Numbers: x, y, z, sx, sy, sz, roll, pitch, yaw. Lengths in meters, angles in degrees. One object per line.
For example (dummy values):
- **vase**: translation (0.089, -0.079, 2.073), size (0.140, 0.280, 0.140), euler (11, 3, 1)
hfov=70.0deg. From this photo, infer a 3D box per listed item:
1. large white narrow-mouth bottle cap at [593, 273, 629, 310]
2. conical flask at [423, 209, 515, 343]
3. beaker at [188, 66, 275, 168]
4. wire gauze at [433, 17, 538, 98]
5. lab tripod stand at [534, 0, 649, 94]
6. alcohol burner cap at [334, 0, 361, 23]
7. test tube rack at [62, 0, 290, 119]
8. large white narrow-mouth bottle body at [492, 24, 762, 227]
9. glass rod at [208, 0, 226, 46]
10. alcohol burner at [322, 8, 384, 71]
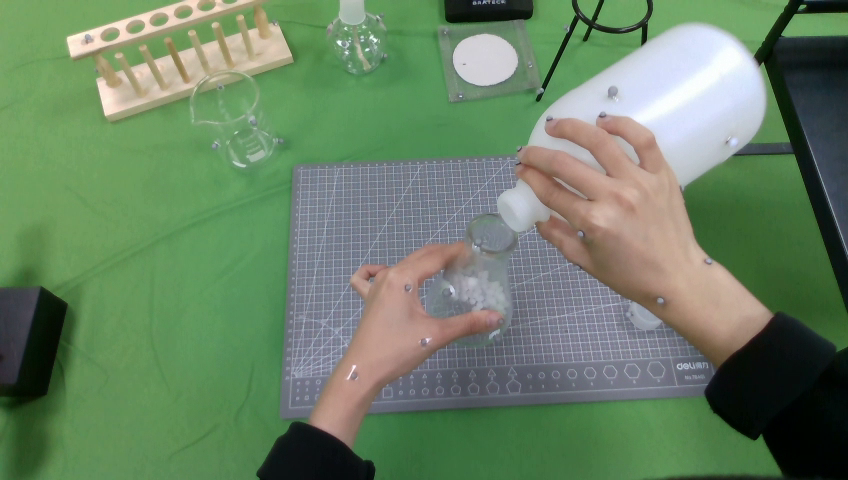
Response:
- **large white narrow-mouth bottle cap**: translation (0.200, 0.056, 0.648), size (0.038, 0.024, 0.037), euler (-1, 64, 2)
- **conical flask**: translation (0.041, 0.025, 0.473), size (0.075, 0.123, 0.074), euler (3, 57, -4)
- **beaker**: translation (-0.219, -0.135, 0.698), size (0.073, 0.101, 0.084), euler (41, 72, 19)
- **wire gauze**: translation (0.079, -0.244, 0.797), size (0.121, 0.011, 0.124), euler (-7, 65, -4)
- **lab tripod stand**: translation (0.208, -0.239, 0.724), size (0.148, 0.132, 0.147), euler (1, 64, -1)
- **alcohol burner cap**: translation (-0.090, -0.287, 0.720), size (0.034, 0.048, 0.033), euler (4, 63, -7)
- **test tube rack**: translation (-0.300, -0.239, 0.755), size (0.242, 0.086, 0.066), euler (-21, 66, -10)
- **large white narrow-mouth bottle body**: translation (0.135, -0.069, 0.435), size (0.195, 0.102, 0.101), euler (-32, 68, -11)
- **glass rod**: translation (-0.255, -0.302, 0.710), size (0.008, 0.201, 0.008), euler (2, 63, -4)
- **alcohol burner**: translation (-0.090, -0.270, 0.752), size (0.078, 0.120, 0.077), euler (0, 62, 0)
